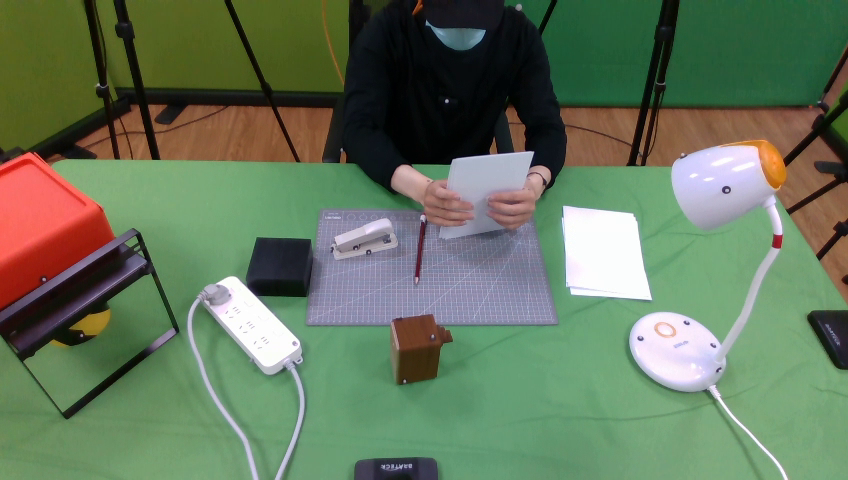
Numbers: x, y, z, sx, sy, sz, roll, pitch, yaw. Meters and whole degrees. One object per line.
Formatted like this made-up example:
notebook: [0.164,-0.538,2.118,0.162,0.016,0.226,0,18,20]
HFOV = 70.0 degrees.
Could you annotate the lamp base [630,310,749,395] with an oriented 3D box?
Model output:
lamp base: [0.447,0.143,0.984,0.161,0.181,0.178,-24,55,-24]

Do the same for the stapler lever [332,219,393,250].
stapler lever: [-0.117,-0.012,1.162,0.118,0.040,0.026,-13,48,-15]

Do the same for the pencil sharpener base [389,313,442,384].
pencil sharpener base: [-0.013,0.175,0.971,0.077,0.107,0.061,-8,47,-11]

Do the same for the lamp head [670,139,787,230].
lamp head: [0.415,-0.079,0.812,0.113,0.123,0.112,12,70,-37]

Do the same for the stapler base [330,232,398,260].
stapler base: [-0.116,0.004,1.181,0.131,0.024,0.041,-14,49,-14]

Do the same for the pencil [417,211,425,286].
pencil: [-0.007,0.014,1.190,0.012,0.012,0.193,4,48,0]

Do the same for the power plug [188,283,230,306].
power plug: [-0.368,0.099,1.037,0.072,0.053,0.035,-24,52,-26]

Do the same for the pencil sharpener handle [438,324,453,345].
pencil sharpener handle: [0.036,0.155,0.976,0.031,0.068,0.036,-8,70,-11]

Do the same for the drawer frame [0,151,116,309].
drawer frame: [-0.604,-0.013,0.876,0.201,0.083,0.213,31,52,23]

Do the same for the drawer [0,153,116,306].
drawer: [-0.601,-0.015,0.880,0.193,0.073,0.211,32,53,23]

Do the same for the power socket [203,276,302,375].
power socket: [-0.297,0.141,1.034,0.072,0.033,0.225,-34,58,-30]

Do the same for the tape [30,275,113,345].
tape: [-0.593,0.117,1.021,0.117,0.053,0.116,2,46,-2]
